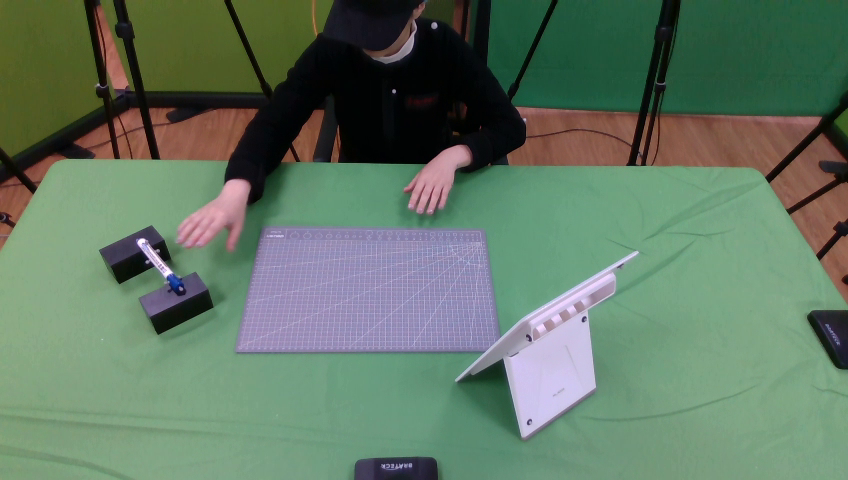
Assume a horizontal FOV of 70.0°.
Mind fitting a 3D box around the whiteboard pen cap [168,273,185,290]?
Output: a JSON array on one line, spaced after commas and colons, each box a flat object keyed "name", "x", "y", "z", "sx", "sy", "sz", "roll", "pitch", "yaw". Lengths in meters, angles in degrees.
[{"name": "whiteboard pen cap", "x": -0.422, "y": 0.070, "z": 1.031, "sx": 0.018, "sy": 0.018, "sz": 0.033, "roll": -33, "pitch": 54, "yaw": -30}]

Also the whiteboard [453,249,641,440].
[{"name": "whiteboard", "x": 0.206, "y": 0.174, "z": 0.890, "sx": 0.217, "sy": 0.306, "sz": 0.143, "roll": -25, "pitch": 72, "yaw": -25}]

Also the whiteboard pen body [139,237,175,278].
[{"name": "whiteboard pen body", "x": -0.462, "y": 0.038, "z": 1.059, "sx": 0.017, "sy": 0.017, "sz": 0.140, "roll": -33, "pitch": 57, "yaw": -30}]
